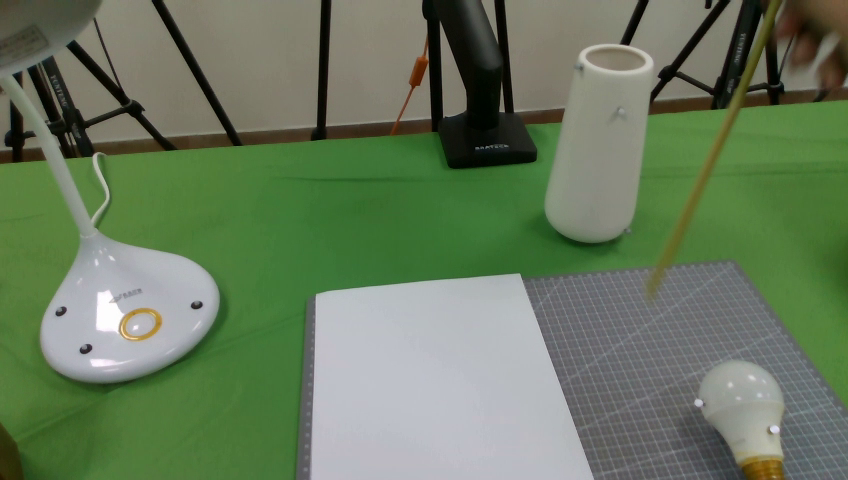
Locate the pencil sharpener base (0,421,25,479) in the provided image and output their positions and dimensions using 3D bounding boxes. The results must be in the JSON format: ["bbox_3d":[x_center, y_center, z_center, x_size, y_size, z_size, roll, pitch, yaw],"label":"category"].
[{"bbox_3d":[-0.332,0.151,0.419,0.061,0.108,0.076,-25,45,-25],"label":"pencil sharpener base"}]

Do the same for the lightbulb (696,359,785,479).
[{"bbox_3d":[0.246,0.143,0.461,0.059,0.060,0.106,-2,55,-1],"label":"lightbulb"}]

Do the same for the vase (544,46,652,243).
[{"bbox_3d":[0.182,-0.095,0.635,0.098,0.202,0.097,-1,39,2],"label":"vase"}]

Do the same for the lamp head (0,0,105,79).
[{"bbox_3d":[-0.245,-0.156,0.305,0.112,0.112,0.123,-39,90,-36],"label":"lamp head"}]

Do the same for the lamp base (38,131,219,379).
[{"bbox_3d":[-0.290,0.004,0.538,0.177,0.182,0.160,30,49,35],"label":"lamp base"}]

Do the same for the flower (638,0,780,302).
[{"bbox_3d":[0.188,-0.123,0.332,0.038,0.363,0.043,8,23,-18],"label":"flower"}]
